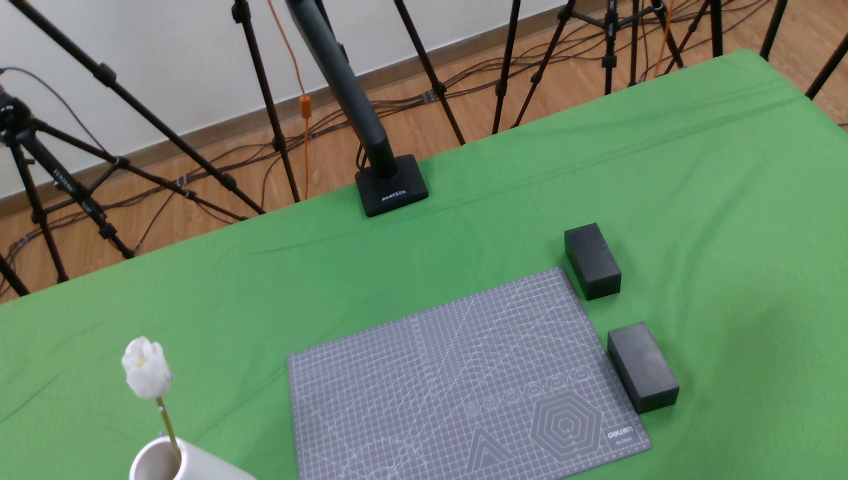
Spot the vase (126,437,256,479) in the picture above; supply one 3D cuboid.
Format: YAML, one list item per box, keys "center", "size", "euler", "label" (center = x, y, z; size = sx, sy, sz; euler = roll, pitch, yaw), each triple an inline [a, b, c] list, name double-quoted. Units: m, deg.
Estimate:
- center: [-0.268, 0.304, 0.728]
  size: [0.098, 0.202, 0.097]
  euler: [-6, 51, 8]
  label: "vase"

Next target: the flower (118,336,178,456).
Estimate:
- center: [-0.271, 0.242, 0.671]
  size: [0.038, 0.365, 0.043]
  euler: [-20, 43, -25]
  label: "flower"
